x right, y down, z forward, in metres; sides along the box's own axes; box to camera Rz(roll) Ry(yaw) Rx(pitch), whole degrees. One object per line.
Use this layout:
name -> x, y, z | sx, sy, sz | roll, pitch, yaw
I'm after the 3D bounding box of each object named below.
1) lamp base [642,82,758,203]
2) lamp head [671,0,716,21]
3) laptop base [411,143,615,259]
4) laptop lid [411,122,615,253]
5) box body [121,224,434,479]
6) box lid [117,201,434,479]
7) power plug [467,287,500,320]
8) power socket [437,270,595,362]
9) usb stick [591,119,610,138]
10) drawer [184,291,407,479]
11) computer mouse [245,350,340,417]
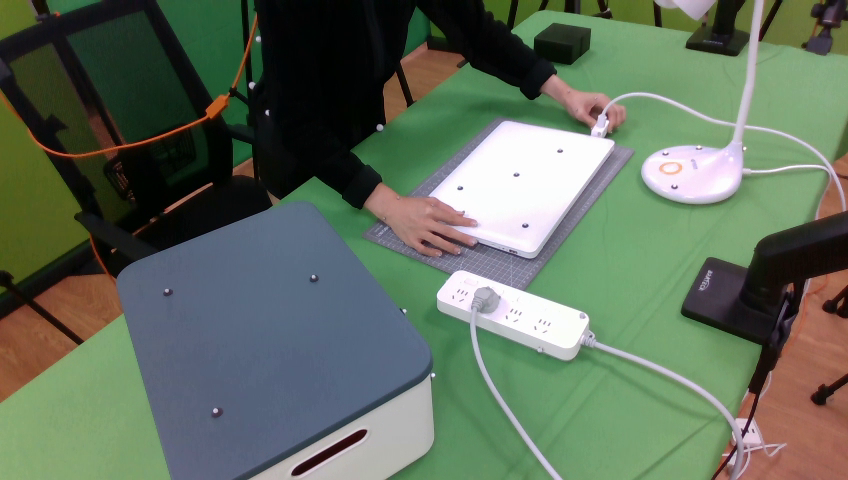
lamp base -> 0.464, -0.174, 0.992 | 0.179, 0.181, 0.159 | -5, 41, -1
lamp head -> 0.375, -0.373, 0.807 | 0.122, 0.113, 0.112 | -40, 27, 32
laptop base -> 0.167, -0.102, 1.075 | 0.234, 0.023, 0.355 | 16, 46, 30
laptop lid -> 0.164, -0.112, 1.069 | 0.240, 0.013, 0.357 | 19, 46, 31
box body -> -0.175, 0.142, 0.725 | 0.255, 0.161, 0.360 | -25, 43, -20
box lid -> -0.182, 0.087, 0.675 | 0.264, 0.015, 0.368 | -25, 42, -20
power plug -> 0.073, 0.092, 0.814 | 0.035, 0.053, 0.073 | 29, 54, 34
power socket -> 0.119, 0.101, 0.832 | 0.225, 0.033, 0.072 | 19, 48, 27
usb stick -> 0.333, -0.205, 1.151 | 0.021, 0.027, 0.059 | 21, 51, 23
drawer -> -0.155, 0.179, 0.720 | 0.195, 0.073, 0.210 | -27, 40, -21
computer mouse -> -0.165, 0.173, 0.754 | 0.118, 0.041, 0.062 | -18, 34, -18
